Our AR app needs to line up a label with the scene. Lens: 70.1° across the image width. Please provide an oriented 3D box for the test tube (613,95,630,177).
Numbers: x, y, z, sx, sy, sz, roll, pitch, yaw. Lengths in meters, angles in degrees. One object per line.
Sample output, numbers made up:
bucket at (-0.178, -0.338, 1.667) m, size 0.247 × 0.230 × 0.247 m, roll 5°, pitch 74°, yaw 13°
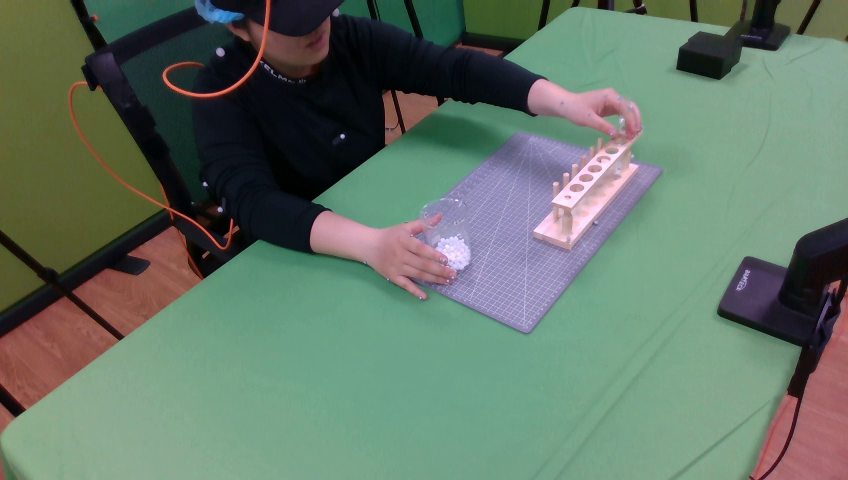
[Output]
test tube at (0.322, -0.166, 0.988) m, size 0.017 × 0.151 × 0.017 m, roll -5°, pitch 41°, yaw 5°

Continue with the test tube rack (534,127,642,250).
test tube rack at (0.271, -0.094, 0.989) m, size 0.066 × 0.085 × 0.243 m, roll 23°, pitch 50°, yaw 32°

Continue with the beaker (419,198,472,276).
beaker at (0.037, -0.004, 0.916) m, size 0.073 × 0.101 × 0.084 m, roll 24°, pitch 49°, yaw 33°
